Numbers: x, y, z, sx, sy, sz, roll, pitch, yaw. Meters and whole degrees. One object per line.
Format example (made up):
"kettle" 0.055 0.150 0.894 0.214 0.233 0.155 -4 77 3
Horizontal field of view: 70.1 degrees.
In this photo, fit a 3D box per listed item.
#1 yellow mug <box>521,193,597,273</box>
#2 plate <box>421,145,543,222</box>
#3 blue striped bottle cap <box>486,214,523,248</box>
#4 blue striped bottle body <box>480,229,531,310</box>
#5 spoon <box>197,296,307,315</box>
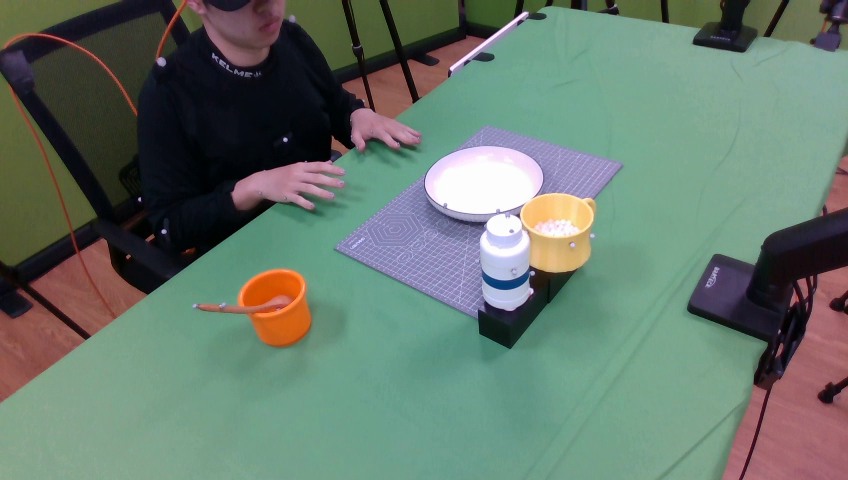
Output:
"yellow mug" 0.197 -0.019 0.852 0.131 0.064 0.099 -30 46 -25
"plate" 0.101 -0.094 1.048 0.207 0.039 0.206 -4 41 4
"blue striped bottle cap" 0.098 -0.011 0.735 0.044 0.021 0.044 -3 38 3
"blue striped bottle body" 0.104 0.027 0.769 0.063 0.121 0.063 -4 40 4
"spoon" -0.220 0.089 0.793 0.041 0.021 0.195 19 7 25
